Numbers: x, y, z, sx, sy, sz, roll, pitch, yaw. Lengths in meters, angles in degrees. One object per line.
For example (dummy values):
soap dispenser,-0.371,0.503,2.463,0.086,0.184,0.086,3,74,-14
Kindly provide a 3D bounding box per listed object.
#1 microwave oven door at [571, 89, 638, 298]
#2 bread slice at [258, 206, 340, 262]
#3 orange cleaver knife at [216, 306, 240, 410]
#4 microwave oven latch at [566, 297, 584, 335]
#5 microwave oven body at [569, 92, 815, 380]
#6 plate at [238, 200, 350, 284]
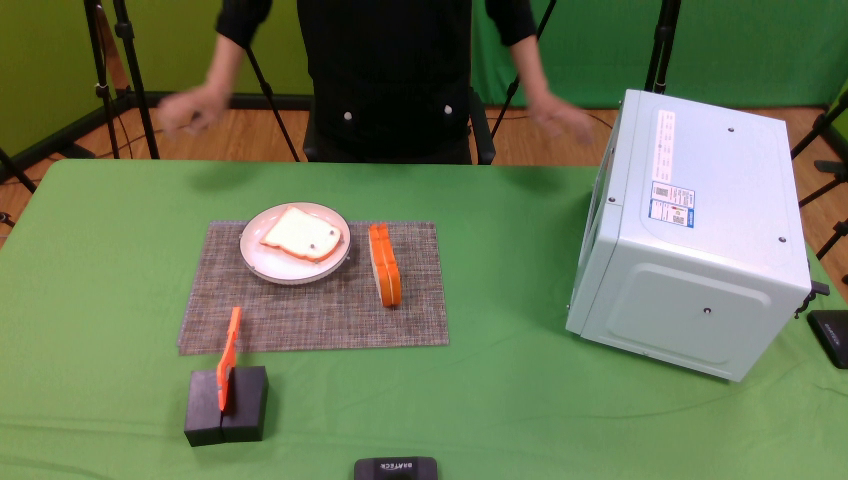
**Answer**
microwave oven door,0.343,-0.091,1.133,0.039,0.245,0.354,15,47,10
bread slice,-0.232,-0.009,1.168,0.134,0.018,0.106,19,51,10
orange cleaver knife,-0.307,0.180,0.957,0.012,0.077,0.210,-2,25,-8
microwave oven latch,0.268,0.126,1.059,0.030,0.029,0.079,16,46,12
microwave oven body,0.468,-0.021,1.082,0.325,0.261,0.440,15,46,11
plate,-0.245,0.007,1.156,0.208,0.039,0.206,2,46,-2
